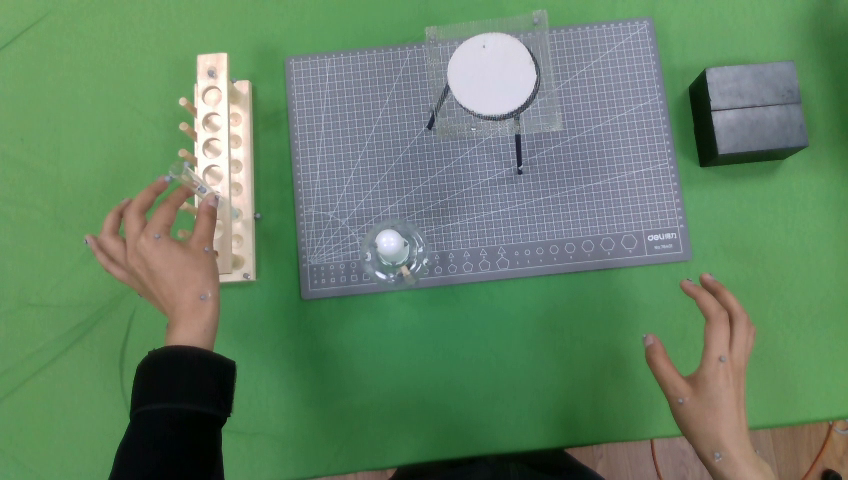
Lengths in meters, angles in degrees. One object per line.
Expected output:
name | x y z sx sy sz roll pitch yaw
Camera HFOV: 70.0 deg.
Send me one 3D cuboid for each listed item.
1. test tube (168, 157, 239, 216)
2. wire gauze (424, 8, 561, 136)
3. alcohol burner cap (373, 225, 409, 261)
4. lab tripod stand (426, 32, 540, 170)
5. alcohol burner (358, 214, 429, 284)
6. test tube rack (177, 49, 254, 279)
test tube | -0.220 -0.050 0.617 0.017 0.151 0.017 -1 76 3
wire gauze | 0.066 -0.163 0.592 0.125 0.011 0.121 -5 82 1
alcohol burner cap | -0.035 0.002 0.612 0.034 0.048 0.033 -1 78 7
lab tripod stand | 0.072 -0.157 0.658 0.148 0.132 0.148 0 80 3
alcohol burner | -0.034 0.007 0.648 0.078 0.119 0.077 0 81 0
test tube rack | -0.239 -0.081 0.684 0.067 0.085 0.241 -4 82 1
